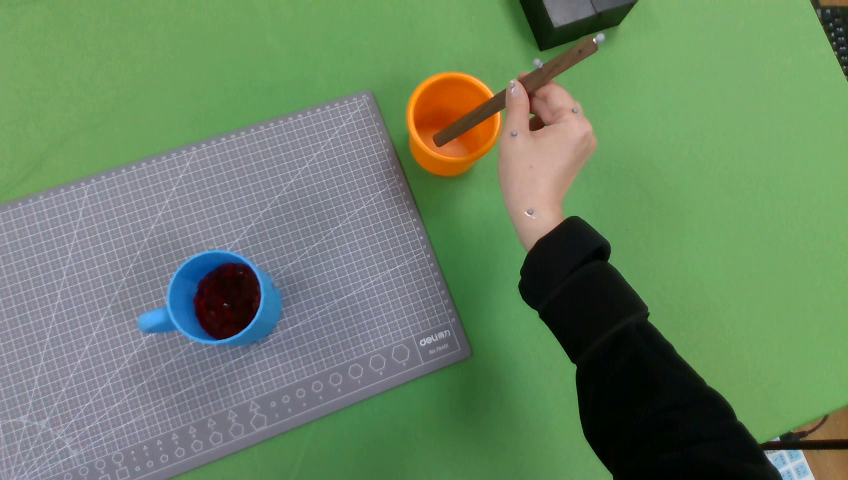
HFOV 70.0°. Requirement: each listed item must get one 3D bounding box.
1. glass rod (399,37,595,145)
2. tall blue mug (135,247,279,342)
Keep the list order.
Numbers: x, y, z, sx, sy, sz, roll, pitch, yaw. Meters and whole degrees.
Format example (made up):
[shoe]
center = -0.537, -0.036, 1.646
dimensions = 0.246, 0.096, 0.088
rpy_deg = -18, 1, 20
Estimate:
[glass rod]
center = 0.052, -0.121, 0.513
dimensions = 0.008, 0.199, 0.008
rpy_deg = 27, 52, -42
[tall blue mug]
center = -0.186, 0.062, 0.536
dimensions = 0.107, 0.108, 0.078
rpy_deg = -44, 88, -11
